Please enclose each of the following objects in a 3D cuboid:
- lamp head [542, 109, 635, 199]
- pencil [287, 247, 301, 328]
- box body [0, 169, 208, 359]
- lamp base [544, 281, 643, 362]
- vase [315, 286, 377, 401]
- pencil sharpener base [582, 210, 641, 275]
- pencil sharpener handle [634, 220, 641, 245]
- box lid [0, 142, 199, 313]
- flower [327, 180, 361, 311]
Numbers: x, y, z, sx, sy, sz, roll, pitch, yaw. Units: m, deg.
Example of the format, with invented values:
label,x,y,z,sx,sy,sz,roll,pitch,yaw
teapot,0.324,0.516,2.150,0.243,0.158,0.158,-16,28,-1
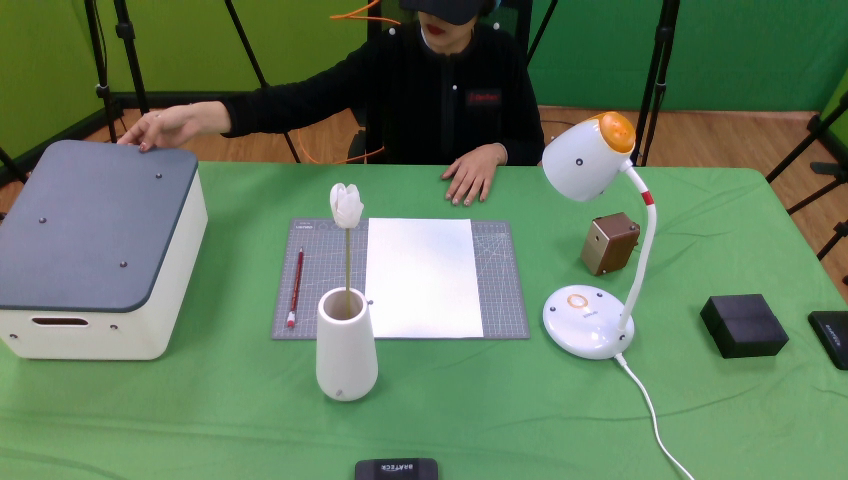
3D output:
label,x,y,z,sx,sy,sz,roll,pitch,yaw
lamp head,0.253,-0.131,0.893,0.113,0.123,0.112,10,66,-24
pencil,-0.236,0.081,1.107,0.012,0.012,0.193,0,45,-4
box body,-0.541,0.021,1.042,0.254,0.161,0.361,1,46,-3
lamp base,0.304,0.095,1.014,0.161,0.181,0.178,-24,54,-24
vase,-0.119,0.159,0.911,0.098,0.201,0.097,2,47,-2
pencil sharpener base,0.357,0.005,1.156,0.077,0.107,0.061,-15,48,-18
pencil sharpener handle,0.405,-0.015,1.161,0.031,0.068,0.035,-15,44,-17
box lid,-0.536,-0.037,0.986,0.263,0.015,0.369,3,47,-5
flower,-0.110,0.087,0.867,0.044,0.363,0.038,22,33,36
